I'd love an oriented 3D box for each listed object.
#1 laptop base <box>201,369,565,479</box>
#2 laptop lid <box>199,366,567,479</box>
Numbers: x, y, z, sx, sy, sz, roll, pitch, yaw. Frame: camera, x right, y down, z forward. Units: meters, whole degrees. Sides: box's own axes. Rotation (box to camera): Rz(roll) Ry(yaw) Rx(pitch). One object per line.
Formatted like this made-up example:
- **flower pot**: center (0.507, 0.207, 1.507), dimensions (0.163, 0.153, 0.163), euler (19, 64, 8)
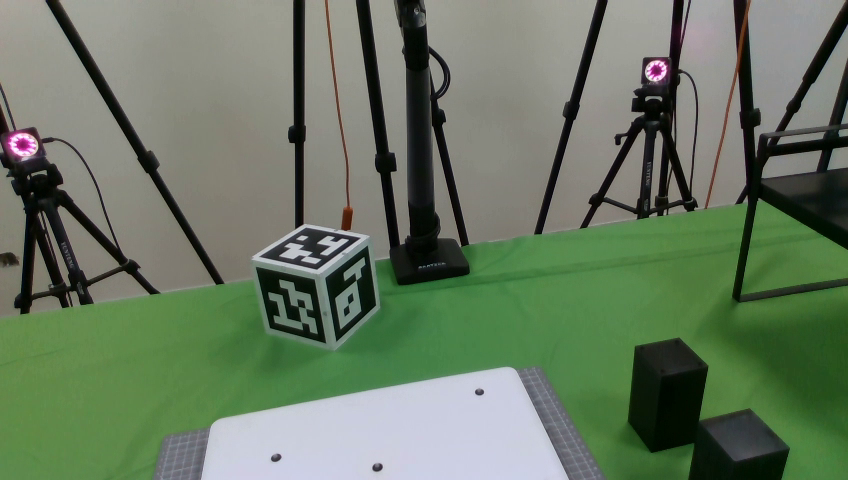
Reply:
- **laptop base**: center (-0.046, 0.237, 0.608), dimensions (0.355, 0.023, 0.233), euler (-8, 29, -8)
- **laptop lid**: center (-0.047, 0.227, 0.601), dimensions (0.357, 0.013, 0.239), euler (-8, 28, -6)
